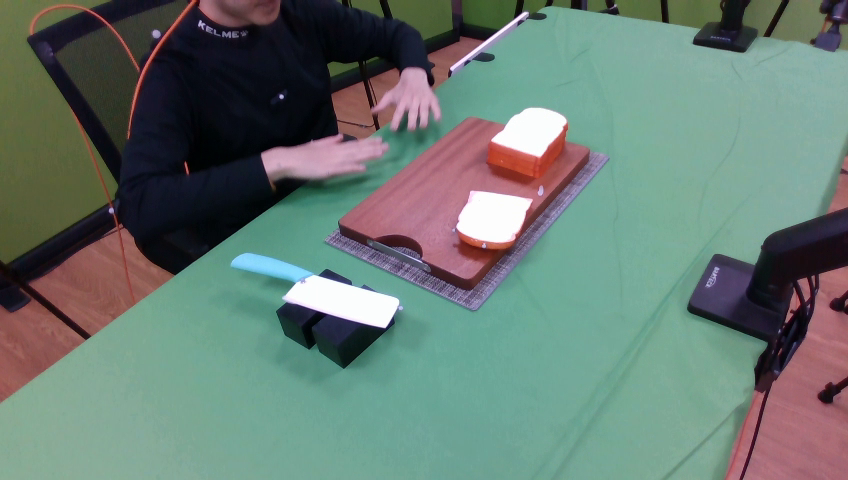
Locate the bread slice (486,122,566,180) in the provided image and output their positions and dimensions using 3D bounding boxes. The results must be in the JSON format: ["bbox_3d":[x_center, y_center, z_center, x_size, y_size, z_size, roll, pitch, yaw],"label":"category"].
[{"bbox_3d":[0.194,-0.167,1.090,0.106,0.018,0.134,28,56,29],"label":"bread slice"}]

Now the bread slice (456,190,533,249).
[{"bbox_3d":[0.106,-0.032,0.945,0.104,0.019,0.131,11,40,16],"label":"bread slice"}]

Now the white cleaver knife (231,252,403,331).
[{"bbox_3d":[-0.163,0.068,0.850,0.284,0.021,0.066,13,45,25],"label":"white cleaver knife"}]
